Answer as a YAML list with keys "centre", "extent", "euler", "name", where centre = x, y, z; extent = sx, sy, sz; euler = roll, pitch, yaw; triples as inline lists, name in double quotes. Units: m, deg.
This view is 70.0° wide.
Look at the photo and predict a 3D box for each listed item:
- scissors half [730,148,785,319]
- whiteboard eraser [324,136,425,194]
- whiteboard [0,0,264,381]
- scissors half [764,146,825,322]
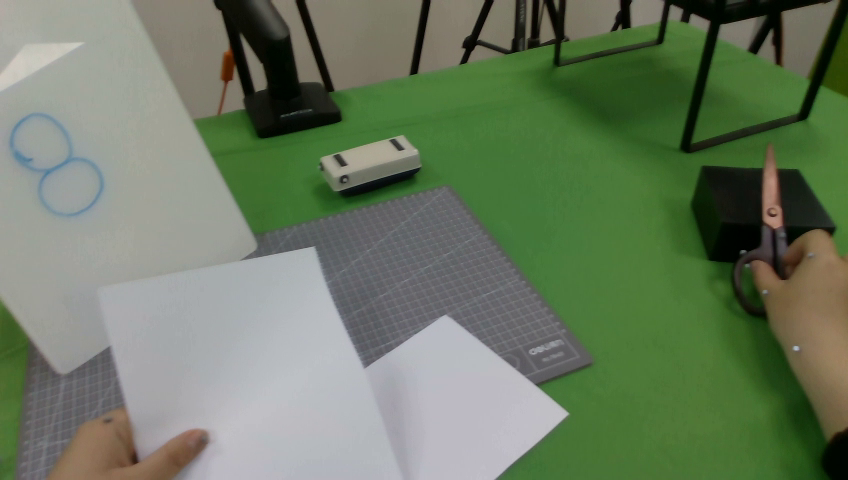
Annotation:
- centre: [0.320, -0.011, 0.572]
  extent: [0.040, 0.013, 0.174]
  euler: [12, 75, 24]
  name: "scissors half"
- centre: [-0.059, -0.088, 0.729]
  extent: [0.113, 0.042, 0.055]
  euler: [-18, 43, -19]
  name: "whiteboard eraser"
- centre: [-0.332, -0.070, 0.561]
  extent: [0.143, 0.308, 0.217]
  euler: [7, 36, 45]
  name: "whiteboard"
- centre: [0.339, -0.010, 0.565]
  extent: [0.040, 0.013, 0.174]
  euler: [-5, 70, 13]
  name: "scissors half"
